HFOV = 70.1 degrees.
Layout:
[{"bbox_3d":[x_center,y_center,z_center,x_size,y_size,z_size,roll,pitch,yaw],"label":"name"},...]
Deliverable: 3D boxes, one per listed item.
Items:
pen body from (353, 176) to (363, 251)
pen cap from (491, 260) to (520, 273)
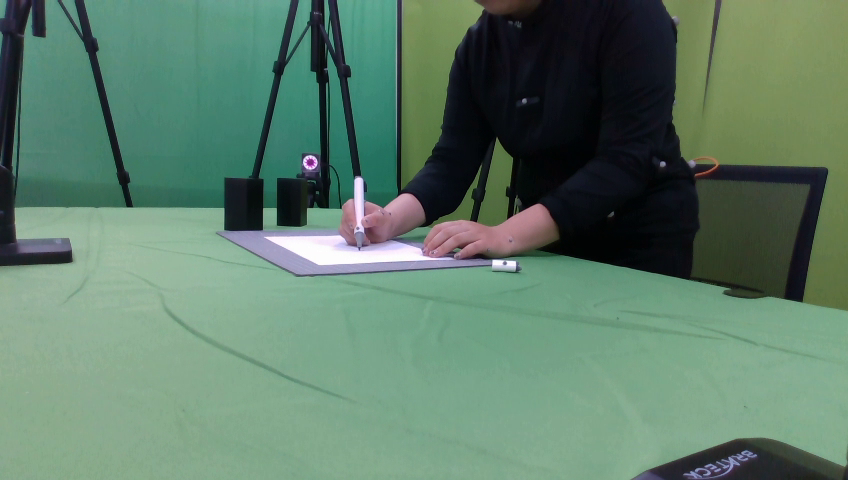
[{"bbox_3d":[-0.106,-0.042,0.972,0.017,0.143,0.017,-3,-33,-1],"label":"pen body"},{"bbox_3d":[0.110,0.036,0.813,0.038,0.017,0.017,3,7,7],"label":"pen cap"}]
